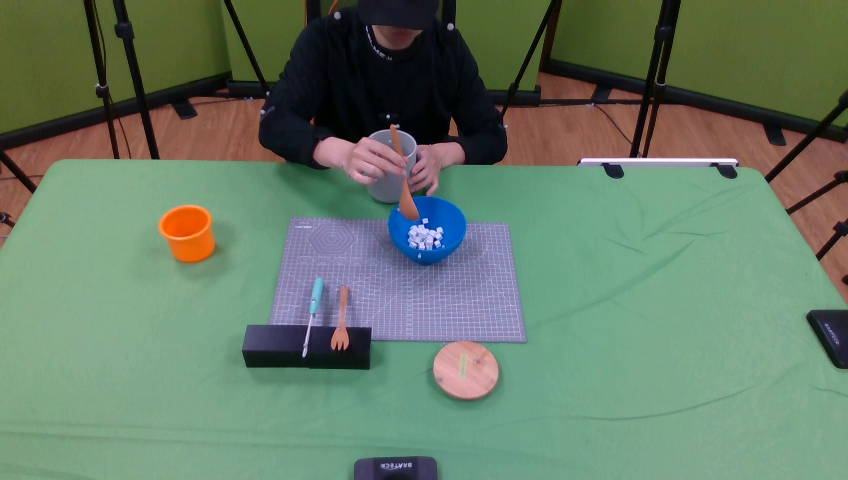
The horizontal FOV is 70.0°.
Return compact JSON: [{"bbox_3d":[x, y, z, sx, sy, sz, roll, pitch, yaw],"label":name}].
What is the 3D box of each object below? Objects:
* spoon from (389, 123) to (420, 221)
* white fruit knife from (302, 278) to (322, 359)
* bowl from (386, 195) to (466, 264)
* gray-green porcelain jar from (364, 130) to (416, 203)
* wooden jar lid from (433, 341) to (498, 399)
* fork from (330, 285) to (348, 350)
[{"bbox_3d":[-0.039,-0.117,1.081,0.041,0.194,0.021,10,34,34],"label":"spoon"},{"bbox_3d":[-0.189,0.126,1.020,0.016,0.027,0.206,-1,33,-2],"label":"white fruit knife"},{"bbox_3d":[0.003,-0.007,1.162,0.151,0.077,0.150,2,46,-2],"label":"bowl"},{"bbox_3d":[-0.072,-0.148,1.264,0.106,0.127,0.105,3,46,-3],"label":"gray-green porcelain jar"},{"bbox_3d":[0.068,0.216,0.997,0.108,0.021,0.107,1,46,-1],"label":"wooden jar lid"},{"bbox_3d":[-0.140,0.127,1.021,0.028,0.019,0.206,-4,28,-3],"label":"fork"}]
